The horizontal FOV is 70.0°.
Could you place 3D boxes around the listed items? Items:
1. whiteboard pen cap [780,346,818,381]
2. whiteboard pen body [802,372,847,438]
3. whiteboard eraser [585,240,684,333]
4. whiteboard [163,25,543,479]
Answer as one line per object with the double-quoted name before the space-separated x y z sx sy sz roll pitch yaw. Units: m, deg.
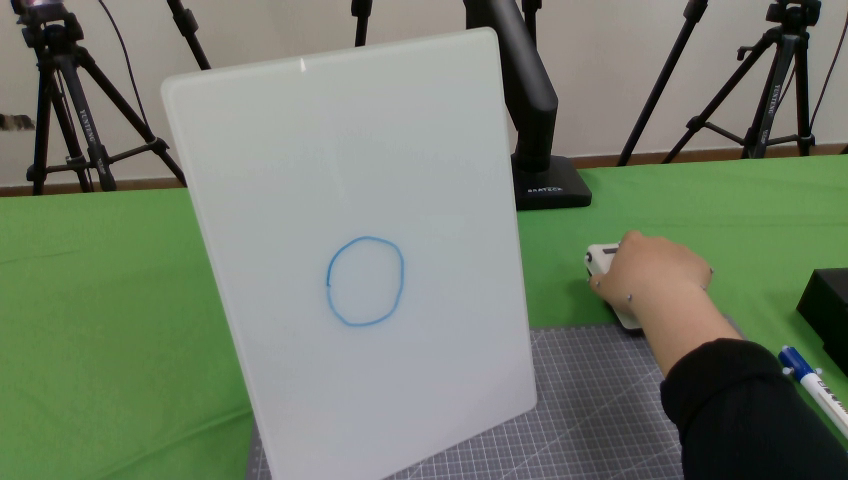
"whiteboard pen cap" 0.332 0.111 0.535 0.018 0.018 0.033 -5 35 -7
"whiteboard pen body" 0.341 0.145 0.489 0.017 0.017 0.139 -4 35 -6
"whiteboard eraser" 0.204 0.045 0.596 0.056 0.042 0.111 -8 35 -5
"whiteboard" -0.050 0.012 0.470 0.218 0.307 0.142 -17 20 -22
